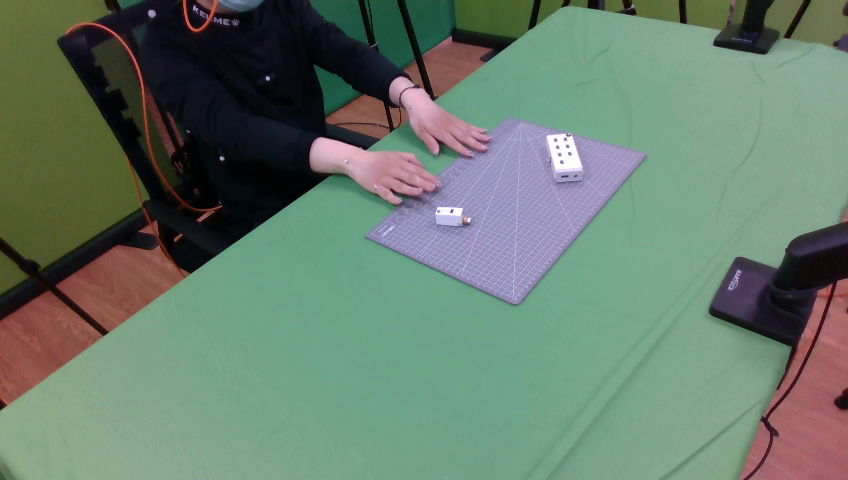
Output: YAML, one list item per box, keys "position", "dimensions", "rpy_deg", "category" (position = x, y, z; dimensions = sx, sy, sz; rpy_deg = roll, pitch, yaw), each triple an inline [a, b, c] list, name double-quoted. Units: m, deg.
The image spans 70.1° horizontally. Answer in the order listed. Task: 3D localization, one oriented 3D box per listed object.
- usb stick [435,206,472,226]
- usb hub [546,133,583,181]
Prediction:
- position: [0.050, -0.039, 0.999]
  dimensions: [0.059, 0.027, 0.021]
  rpy_deg: [7, 41, 12]
  category: "usb stick"
- position: [0.256, -0.152, 1.103]
  dimensions: [0.049, 0.025, 0.124]
  rpy_deg: [-3, 41, 4]
  category: "usb hub"
